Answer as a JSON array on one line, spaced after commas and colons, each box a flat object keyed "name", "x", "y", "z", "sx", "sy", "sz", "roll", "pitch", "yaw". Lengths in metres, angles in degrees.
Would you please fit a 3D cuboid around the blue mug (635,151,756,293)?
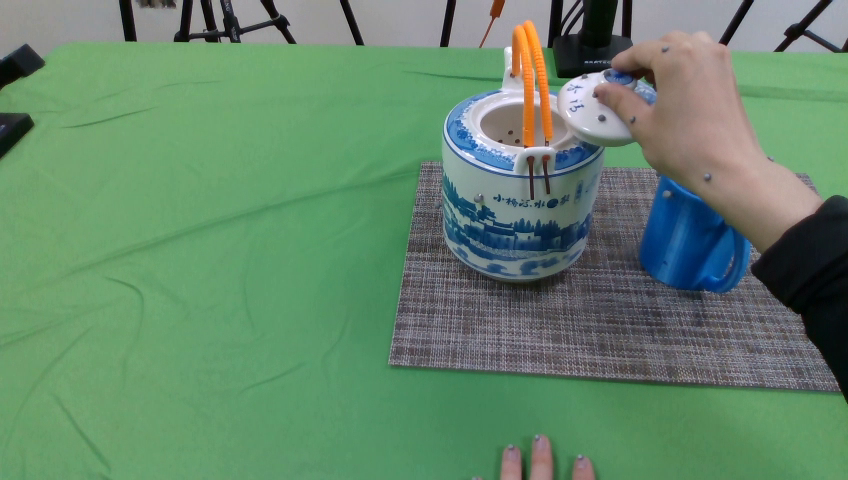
[{"name": "blue mug", "x": 0.254, "y": -0.007, "z": 0.557, "sx": 0.082, "sy": 0.107, "sz": 0.115, "roll": -10, "pitch": 44, "yaw": -8}]

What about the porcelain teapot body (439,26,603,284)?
[{"name": "porcelain teapot body", "x": 0.084, "y": -0.096, "z": 0.571, "sx": 0.145, "sy": 0.227, "sz": 0.203, "roll": -3, "pitch": 43, "yaw": -1}]

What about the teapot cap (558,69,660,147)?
[{"name": "teapot cap", "x": 0.144, "y": -0.110, "z": 0.478, "sx": 0.085, "sy": 0.044, "sz": 0.084, "roll": 0, "pitch": 47, "yaw": 0}]
